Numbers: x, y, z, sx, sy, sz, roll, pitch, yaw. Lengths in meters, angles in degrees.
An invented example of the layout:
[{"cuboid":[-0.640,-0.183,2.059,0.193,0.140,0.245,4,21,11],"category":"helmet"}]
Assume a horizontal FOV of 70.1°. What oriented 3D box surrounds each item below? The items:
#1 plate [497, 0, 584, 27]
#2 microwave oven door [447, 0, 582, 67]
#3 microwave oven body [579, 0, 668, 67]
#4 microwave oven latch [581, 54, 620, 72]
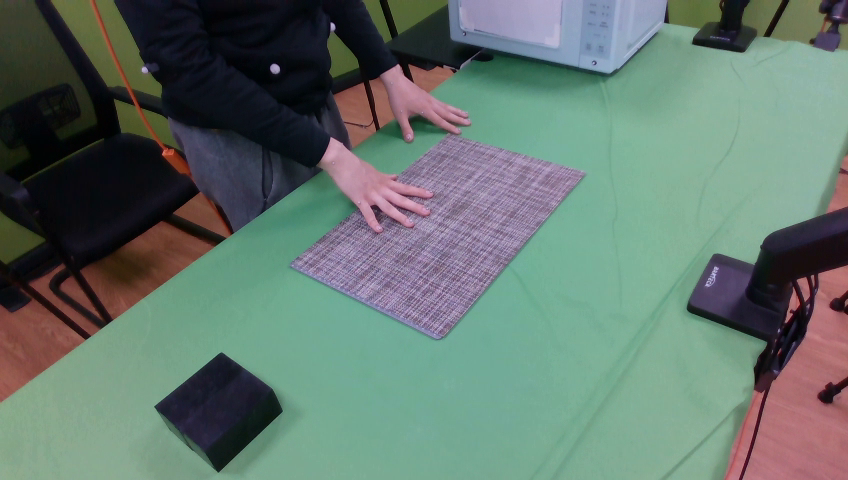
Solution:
[{"cuboid":[0.286,-0.572,1.488,0.209,0.038,0.208,-5,41,5],"category":"plate"},{"cuboid":[0.203,-0.544,1.372,0.353,0.245,0.039,23,49,29],"category":"microwave oven door"},{"cuboid":[0.325,-0.609,1.437,0.438,0.261,0.327,23,50,30],"category":"microwave oven body"},{"cuboid":[0.386,-0.393,1.330,0.078,0.029,0.030,24,51,32],"category":"microwave oven latch"}]
